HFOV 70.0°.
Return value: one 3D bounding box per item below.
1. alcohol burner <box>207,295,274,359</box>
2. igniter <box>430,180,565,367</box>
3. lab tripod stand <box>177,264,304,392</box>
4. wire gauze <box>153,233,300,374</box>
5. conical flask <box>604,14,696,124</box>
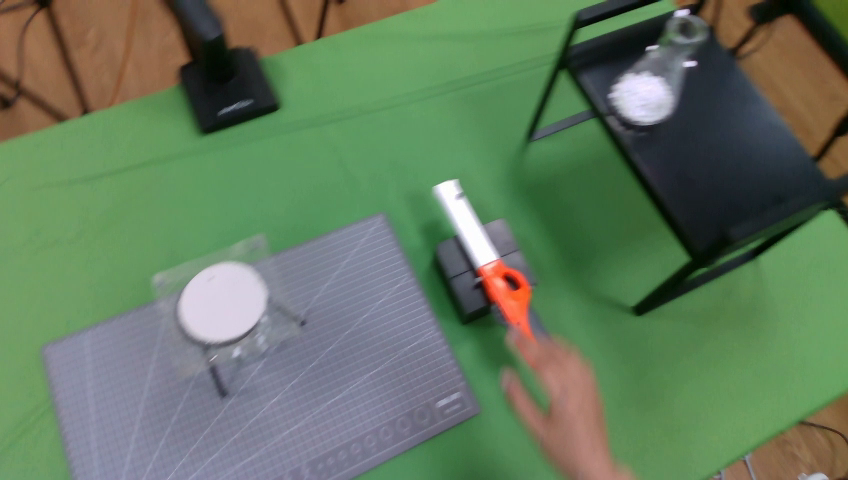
[{"bbox_3d":[-0.216,0.097,0.702,0.078,0.120,0.077,1,67,-3],"label":"alcohol burner"},{"bbox_3d":[0.086,0.038,0.751,0.057,0.025,0.274,-23,68,-18],"label":"igniter"},{"bbox_3d":[-0.221,0.090,0.693,0.148,0.132,0.147,1,67,-2],"label":"lab tripod stand"},{"bbox_3d":[-0.208,0.064,0.631,0.125,0.011,0.120,-20,69,-12],"label":"wire gauze"},{"bbox_3d":[0.254,-0.190,0.668,0.075,0.122,0.075,2,66,-4],"label":"conical flask"}]
